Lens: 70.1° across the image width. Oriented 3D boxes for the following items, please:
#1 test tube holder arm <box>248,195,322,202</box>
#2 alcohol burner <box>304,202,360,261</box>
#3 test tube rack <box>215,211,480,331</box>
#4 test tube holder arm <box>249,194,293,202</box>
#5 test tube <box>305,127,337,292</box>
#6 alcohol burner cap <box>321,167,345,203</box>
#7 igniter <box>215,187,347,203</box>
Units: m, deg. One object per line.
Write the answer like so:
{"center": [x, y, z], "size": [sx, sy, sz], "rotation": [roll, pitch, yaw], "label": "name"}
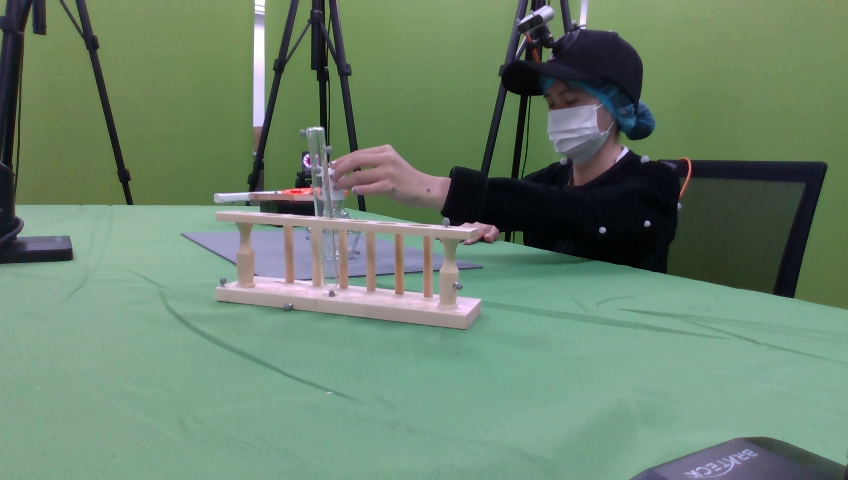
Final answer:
{"center": [-0.270, -0.085, 1.232], "size": [0.179, 0.015, 0.013], "rotation": [-3, 5, -36], "label": "test tube holder arm"}
{"center": [-0.126, -0.031, 0.838], "size": [0.078, 0.119, 0.078], "rotation": [3, 5, 0], "label": "alcohol burner"}
{"center": [-0.071, 0.023, 0.565], "size": [0.242, 0.085, 0.067], "rotation": [5, 7, 16], "label": "test tube rack"}
{"center": [-0.303, -0.083, 1.200], "size": [0.088, 0.015, 0.010], "rotation": [-3, 5, -35], "label": "test tube holder arm"}
{"center": [-0.092, -0.026, 0.546], "size": [0.017, 0.150, 0.017], "rotation": [-4, 8, 1], "label": "test tube"}
{"center": [-0.125, -0.076, 0.831], "size": [0.034, 0.048, 0.034], "rotation": [4, 10, 0], "label": "alcohol burner cap"}
{"center": [-0.293, -0.094, 1.267], "size": [0.278, 0.025, 0.057], "rotation": [-6, 12, -33], "label": "igniter"}
